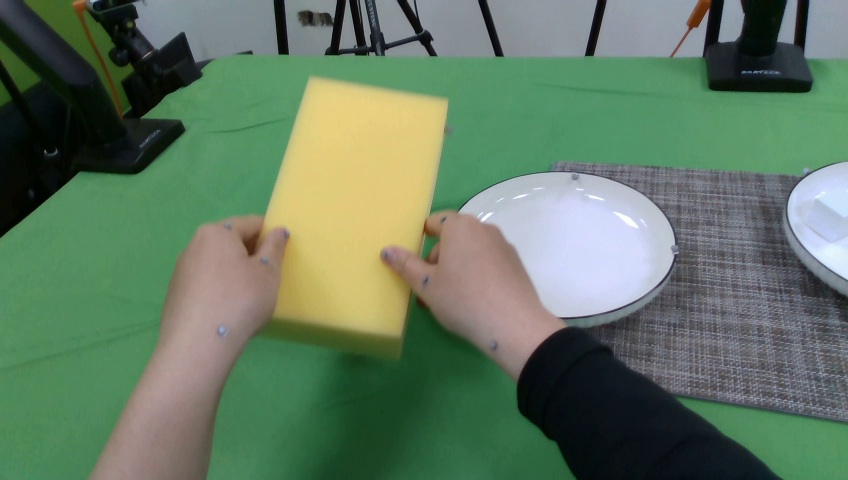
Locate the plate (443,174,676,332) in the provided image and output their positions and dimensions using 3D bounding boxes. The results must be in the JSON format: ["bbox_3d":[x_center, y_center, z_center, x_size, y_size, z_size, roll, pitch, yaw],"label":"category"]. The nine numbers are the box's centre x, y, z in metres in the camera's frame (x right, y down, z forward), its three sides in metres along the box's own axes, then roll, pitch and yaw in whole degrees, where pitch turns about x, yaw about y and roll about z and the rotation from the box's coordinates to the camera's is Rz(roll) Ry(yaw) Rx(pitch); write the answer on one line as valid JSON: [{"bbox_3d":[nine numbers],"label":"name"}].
[{"bbox_3d":[0.122,0.011,0.566,0.209,0.038,0.207,-5,40,5],"label":"plate"}]

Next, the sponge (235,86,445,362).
[{"bbox_3d":[-0.058,-0.017,0.486,0.118,0.061,0.205,11,65,2],"label":"sponge"}]

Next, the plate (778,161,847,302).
[{"bbox_3d":[0.417,0.004,0.518,0.207,0.039,0.205,-5,40,5],"label":"plate"}]
